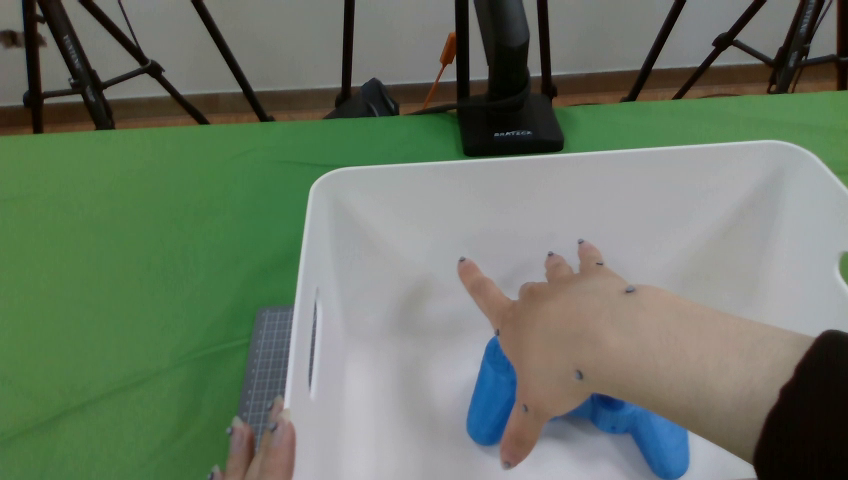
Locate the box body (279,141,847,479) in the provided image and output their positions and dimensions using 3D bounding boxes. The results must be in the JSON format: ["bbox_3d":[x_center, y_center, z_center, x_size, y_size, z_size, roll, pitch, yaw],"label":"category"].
[{"bbox_3d":[0.111,0.080,0.405,0.364,0.162,0.251,-4,43,-2],"label":"box body"}]

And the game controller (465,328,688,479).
[{"bbox_3d":[0.113,0.112,0.446,0.155,0.052,0.096,8,38,10],"label":"game controller"}]
